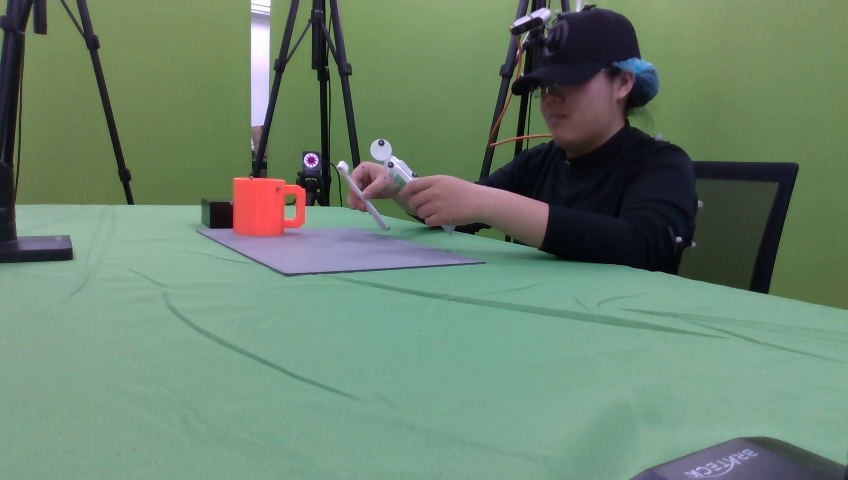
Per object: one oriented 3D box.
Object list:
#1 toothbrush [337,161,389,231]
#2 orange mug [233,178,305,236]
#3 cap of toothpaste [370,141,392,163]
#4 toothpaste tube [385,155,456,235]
[{"bbox_3d":[-0.105,-0.075,1.072,0.014,0.016,0.182,-11,-41,21],"label":"toothbrush"},{"bbox_3d":[-0.273,-0.061,1.067,0.127,0.101,0.083,-5,10,-24],"label":"orange mug"},{"bbox_3d":[-0.069,-0.143,0.979,0.037,0.037,0.011,2,10,3],"label":"cap of toothpaste"},{"bbox_3d":[-0.006,-0.078,0.985,0.034,0.165,0.055,-40,-9,-14],"label":"toothpaste tube"}]
